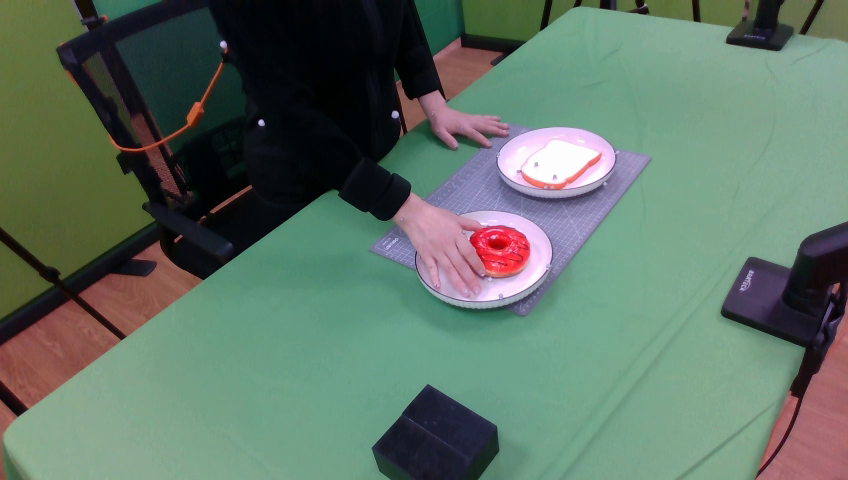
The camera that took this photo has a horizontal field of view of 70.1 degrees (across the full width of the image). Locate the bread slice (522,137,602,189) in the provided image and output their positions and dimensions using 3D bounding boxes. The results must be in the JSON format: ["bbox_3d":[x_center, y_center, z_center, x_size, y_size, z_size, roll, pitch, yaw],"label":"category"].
[{"bbox_3d":[0.242,-0.136,1.085,0.106,0.018,0.134,23,50,34],"label":"bread slice"}]

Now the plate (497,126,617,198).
[{"bbox_3d":[0.236,-0.136,1.085,0.209,0.038,0.208,-5,40,5],"label":"plate"}]

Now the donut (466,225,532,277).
[{"bbox_3d":[0.112,0.017,0.910,0.099,0.048,0.098,-2,41,2],"label":"donut"}]

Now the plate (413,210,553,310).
[{"bbox_3d":[0.089,0.033,0.914,0.207,0.039,0.206,-5,40,5],"label":"plate"}]
